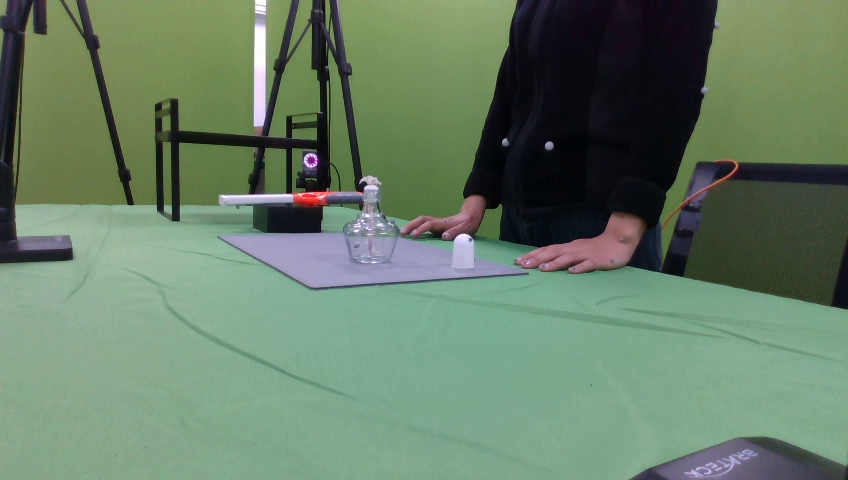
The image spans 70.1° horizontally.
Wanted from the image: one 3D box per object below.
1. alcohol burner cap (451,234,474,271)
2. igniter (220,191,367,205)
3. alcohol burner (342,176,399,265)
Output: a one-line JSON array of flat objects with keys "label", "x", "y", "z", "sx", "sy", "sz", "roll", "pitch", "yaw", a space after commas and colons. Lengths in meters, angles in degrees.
[{"label": "alcohol burner cap", "x": 0.052, "y": 0.015, "z": 0.808, "sx": 0.034, "sy": 0.048, "sz": 0.034, "roll": 3, "pitch": 9, "yaw": 0}, {"label": "igniter", "x": -0.243, "y": -0.079, "z": 1.152, "sx": 0.278, "sy": 0.025, "sz": 0.057, "roll": -3, "pitch": 12, "yaw": -26}, {"label": "alcohol burner", "x": -0.073, "y": -0.027, "z": 0.818, "sx": 0.078, "sy": 0.119, "sz": 0.078, "roll": 1, "pitch": 6, "yaw": 0}]
